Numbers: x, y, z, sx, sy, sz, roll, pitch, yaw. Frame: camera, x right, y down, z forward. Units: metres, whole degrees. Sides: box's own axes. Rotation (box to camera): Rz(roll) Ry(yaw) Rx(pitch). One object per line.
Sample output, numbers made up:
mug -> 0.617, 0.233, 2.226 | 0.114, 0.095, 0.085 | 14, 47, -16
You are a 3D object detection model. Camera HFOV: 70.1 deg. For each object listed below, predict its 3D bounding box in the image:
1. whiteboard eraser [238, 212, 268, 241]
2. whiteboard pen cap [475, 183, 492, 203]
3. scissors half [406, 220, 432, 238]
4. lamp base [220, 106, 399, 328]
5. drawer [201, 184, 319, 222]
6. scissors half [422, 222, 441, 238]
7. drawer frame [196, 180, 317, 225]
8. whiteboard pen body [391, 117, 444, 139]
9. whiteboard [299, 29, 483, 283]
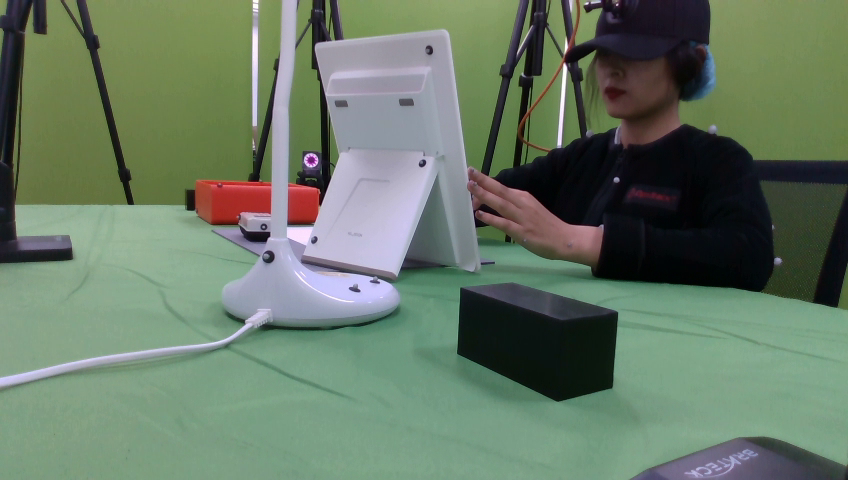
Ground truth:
whiteboard eraser -> -0.272, -0.023, 0.998 | 0.056, 0.042, 0.112 | -2, 9, -24
whiteboard pen cap -> 0.078, -0.063, 0.807 | 0.018, 0.018, 0.033 | 1, 31, -14
scissors half -> -0.006, -0.021, 1.214 | 0.040, 0.013, 0.174 | 6, 10, -15
lamp base -> -0.101, -0.023, 0.531 | 0.160, 0.180, 0.179 | 4, 10, 10
drawer -> -0.353, -0.082, 1.296 | 0.213, 0.073, 0.193 | -2, 10, -28
scissors half -> 0.013, -0.018, 1.217 | 0.040, 0.013, 0.175 | 14, 9, 1
drawer frame -> -0.359, -0.083, 1.292 | 0.215, 0.082, 0.200 | -2, 10, -30
whiteboard pen body -> -0.009, -0.154, 0.832 | 0.017, 0.017, 0.141 | 6, 4, 28
whiteboard -> -0.074, -0.082, 0.742 | 0.216, 0.305, 0.144 | 9, 29, 38
